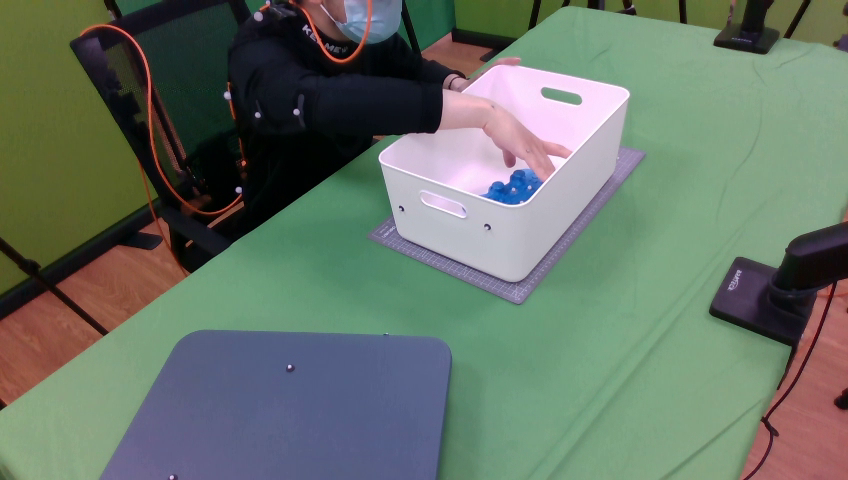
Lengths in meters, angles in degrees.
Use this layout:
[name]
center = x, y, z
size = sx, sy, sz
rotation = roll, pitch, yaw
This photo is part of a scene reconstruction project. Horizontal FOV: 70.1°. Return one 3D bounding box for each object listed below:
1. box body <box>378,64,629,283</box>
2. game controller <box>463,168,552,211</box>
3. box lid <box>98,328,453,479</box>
[box body]
center = 0.137, -0.121, 0.978
size = 0.252, 0.161, 0.365
rotation = 22, 49, 30
[game controller]
center = 0.147, -0.079, 1.007
size = 0.156, 0.052, 0.096
rotation = -30, 50, -24
[box lid]
center = -0.156, 0.209, 0.690
size = 0.371, 0.015, 0.262
rotation = 1, 41, 9
